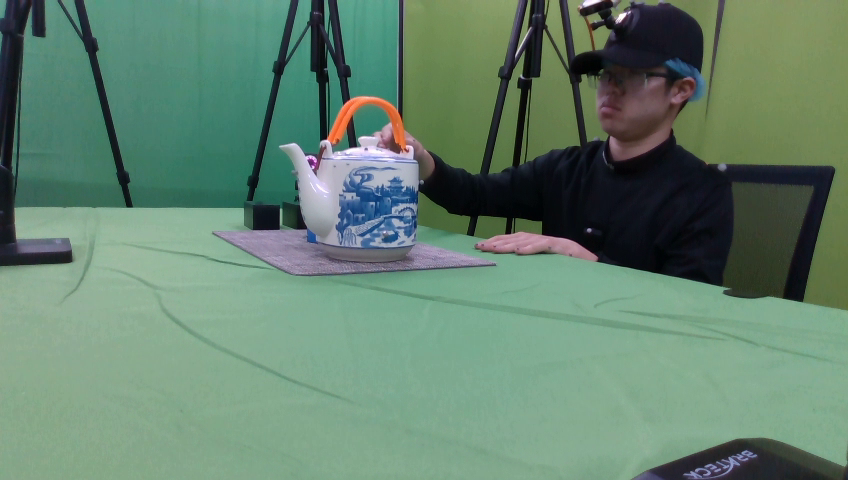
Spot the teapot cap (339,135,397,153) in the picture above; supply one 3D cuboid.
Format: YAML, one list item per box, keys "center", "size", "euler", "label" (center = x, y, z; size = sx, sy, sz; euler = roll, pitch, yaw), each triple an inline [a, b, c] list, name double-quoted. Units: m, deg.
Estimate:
- center: [-0.080, -0.127, 0.854]
  size: [0.085, 0.044, 0.085]
  euler: [-1, 6, 0]
  label: "teapot cap"

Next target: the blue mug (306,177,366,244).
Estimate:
- center: [-0.144, -0.052, 1.027]
  size: [0.082, 0.106, 0.117]
  euler: [9, 10, 42]
  label: "blue mug"

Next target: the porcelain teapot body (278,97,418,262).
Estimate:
- center: [-0.104, -0.086, 0.842]
  size: [0.206, 0.225, 0.144]
  euler: [-4, 10, -38]
  label: "porcelain teapot body"
